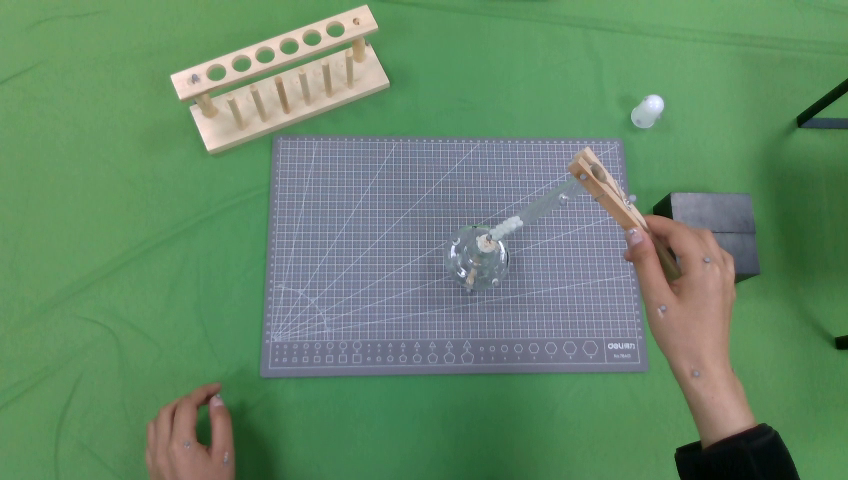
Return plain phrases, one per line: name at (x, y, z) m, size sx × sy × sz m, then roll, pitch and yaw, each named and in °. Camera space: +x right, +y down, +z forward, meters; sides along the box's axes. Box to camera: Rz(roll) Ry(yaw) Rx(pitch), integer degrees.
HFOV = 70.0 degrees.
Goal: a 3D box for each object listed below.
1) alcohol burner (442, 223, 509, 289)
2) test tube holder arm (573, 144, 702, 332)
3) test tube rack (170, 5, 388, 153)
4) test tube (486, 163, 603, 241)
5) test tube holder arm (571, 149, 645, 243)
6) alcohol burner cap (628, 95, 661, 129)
alcohol burner at (0.060, 0.014, 0.681) m, size 0.078 × 0.119 × 0.077 m, roll 1°, pitch 75°, yaw -5°
test tube holder arm at (0.177, -0.001, 0.497) m, size 0.178 × 0.015 × 0.013 m, roll 56°, pitch 33°, yaw -4°
test tube rack at (-0.168, -0.195, 0.738) m, size 0.242 × 0.085 × 0.066 m, roll -24°, pitch 77°, yaw -10°
test tube at (0.102, -0.030, 0.544) m, size 0.017 × 0.150 × 0.017 m, roll 12°, pitch 64°, yaw -27°
test tube holder arm at (0.148, -0.035, 0.487) m, size 0.088 × 0.015 × 0.010 m, roll 50°, pitch 33°, yaw -13°
alcohol burner cap at (0.289, -0.169, 0.788) m, size 0.034 × 0.048 × 0.033 m, roll 1°, pitch 74°, yaw -2°
